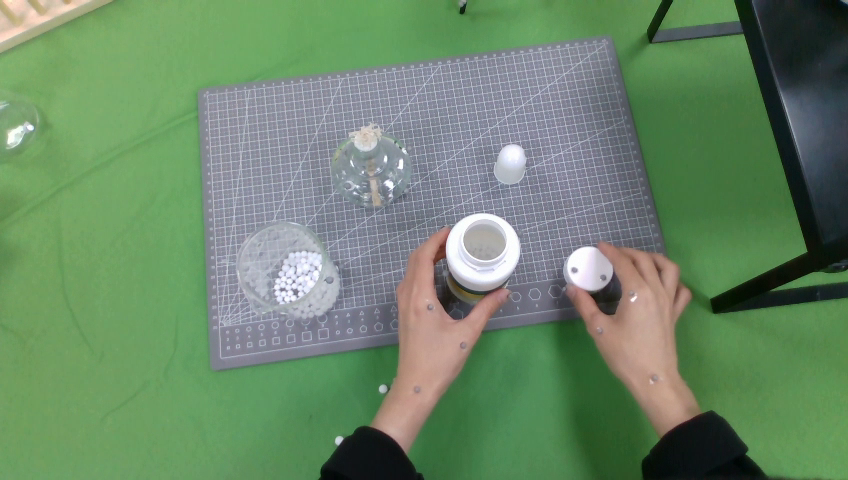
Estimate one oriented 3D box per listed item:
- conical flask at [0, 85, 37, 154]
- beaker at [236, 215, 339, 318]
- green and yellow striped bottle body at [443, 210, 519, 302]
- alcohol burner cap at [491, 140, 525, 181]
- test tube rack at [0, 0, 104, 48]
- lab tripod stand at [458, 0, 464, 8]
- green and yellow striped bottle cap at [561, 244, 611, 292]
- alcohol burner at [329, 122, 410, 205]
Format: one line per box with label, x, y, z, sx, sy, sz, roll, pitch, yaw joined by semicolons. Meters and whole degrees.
conical flask;-0.447;-0.139;0.586;0.075;0.122;0.075;0;74;1
beaker;-0.119;0.032;0.545;0.074;0.101;0.083;22;76;8
green and yellow striped bottle body;0.049;0.014;0.537;0.063;0.120;0.063;0;74;1
alcohol burner cap;0.085;-0.082;0.603;0.034;0.048;0.033;0;74;0
test tube rack;-0.395;-0.300;0.648;0.242;0.085;0.066;-28;76;-7
lab tripod stand;0.094;-0.322;0.623;0.148;0.132;0.147;0;73;0
green and yellow striped bottle cap;0.155;0.026;0.580;0.045;0.020;0.045;0;76;1
alcohol burner;-0.052;-0.077;0.566;0.078;0.119;0.077;0;73;0
